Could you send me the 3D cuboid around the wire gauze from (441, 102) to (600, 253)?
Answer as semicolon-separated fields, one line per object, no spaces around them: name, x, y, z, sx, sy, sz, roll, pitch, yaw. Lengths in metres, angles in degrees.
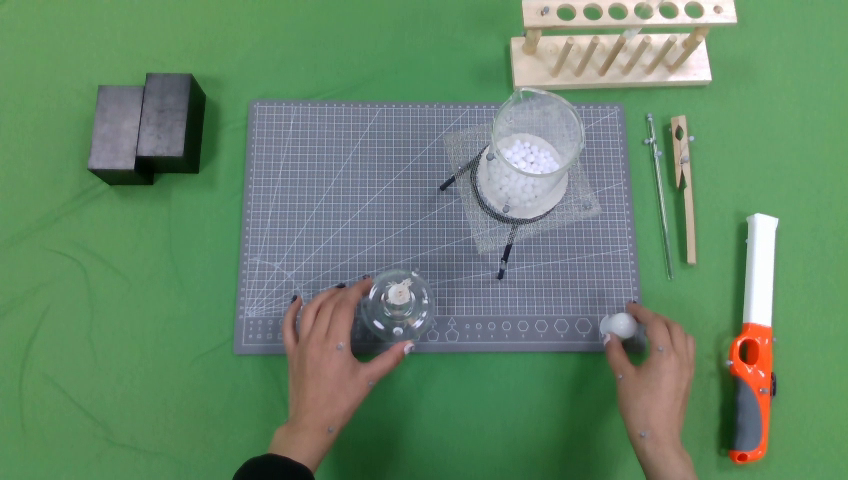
wire gauze;0.089;-0.062;0.573;0.121;0.011;0.124;-16;79;-3

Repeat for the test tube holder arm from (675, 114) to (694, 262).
test tube holder arm;0.305;-0.062;0.710;0.013;0.015;0.177;-8;75;30

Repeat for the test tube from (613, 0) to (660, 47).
test tube;0.248;-0.260;0.672;0.017;0.150;0.017;2;75;-8

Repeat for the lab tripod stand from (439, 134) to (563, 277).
lab tripod stand;0.082;-0.045;0.636;0.148;0.132;0.147;0;77;0

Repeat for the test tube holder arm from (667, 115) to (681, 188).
test tube holder arm;0.300;-0.106;0.723;0.010;0.015;0.087;-8;75;30

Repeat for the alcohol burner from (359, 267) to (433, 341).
alcohol burner;-0.029;0.061;0.616;0.078;0.119;0.077;1;74;-2

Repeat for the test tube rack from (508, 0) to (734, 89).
test tube rack;0.227;-0.232;0.715;0.242;0.085;0.066;-2;76;-3

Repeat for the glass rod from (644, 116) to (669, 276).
glass rod;0.273;-0.055;0.713;0.008;0.008;0.198;-1;76;-3

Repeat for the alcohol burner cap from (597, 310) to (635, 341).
alcohol burner cap;0.211;0.091;0.656;0.034;0.048;0.033;1;76;-2

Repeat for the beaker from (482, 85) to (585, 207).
beaker;0.088;-0.077;0.527;0.074;0.100;0.083;-15;76;-4

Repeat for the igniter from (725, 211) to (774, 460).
igniter;0.362;0.102;0.670;0.057;0.025;0.275;13;76;-9
